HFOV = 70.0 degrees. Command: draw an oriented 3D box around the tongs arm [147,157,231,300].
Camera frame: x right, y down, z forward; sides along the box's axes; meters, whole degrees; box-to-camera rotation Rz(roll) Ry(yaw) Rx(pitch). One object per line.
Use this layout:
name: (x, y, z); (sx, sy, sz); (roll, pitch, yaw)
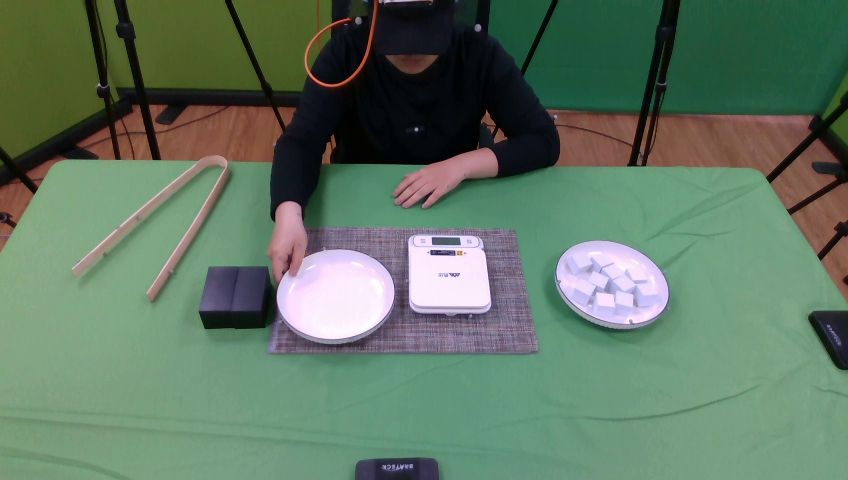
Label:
tongs arm: (-0.453, -0.036, 1.193); (0.028, 0.028, 0.385); (6, 46, 6)

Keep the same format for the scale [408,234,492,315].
scale: (0.045, 0.055, 1.135); (0.149, 0.032, 0.199); (1, 46, -3)

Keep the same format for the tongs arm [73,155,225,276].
tongs arm: (-0.531, -0.058, 1.205); (0.050, 0.026, 0.383); (18, 47, 13)

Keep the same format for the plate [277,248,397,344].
plate: (-0.152, 0.101, 1.073); (0.208, 0.039, 0.206); (2, 46, -2)

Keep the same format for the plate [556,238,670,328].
plate: (0.348, 0.083, 1.130); (0.209, 0.038, 0.208); (2, 47, -2)
